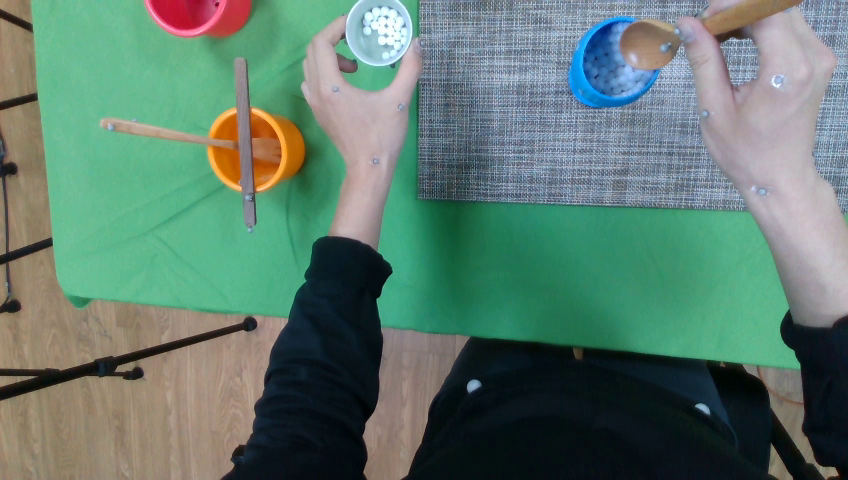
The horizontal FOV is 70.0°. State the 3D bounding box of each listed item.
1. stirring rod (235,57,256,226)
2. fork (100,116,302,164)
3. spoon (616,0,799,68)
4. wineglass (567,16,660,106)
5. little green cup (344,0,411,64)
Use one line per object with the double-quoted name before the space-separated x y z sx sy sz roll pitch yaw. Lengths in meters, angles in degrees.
"stirring rod" -0.189 -0.102 0.642 0.014 0.006 0.176 3 102 11
"fork" -0.231 -0.108 0.651 0.209 0.018 0.028 5 114 -35
"spoon" 0.173 -0.135 0.385 0.021 0.193 0.042 -39 102 3
"wineglass" 0.167 -0.157 0.553 0.073 0.172 0.074 2 102 10
"little green cup" -0.041 -0.194 0.566 0.061 0.038 0.062 2 104 7
